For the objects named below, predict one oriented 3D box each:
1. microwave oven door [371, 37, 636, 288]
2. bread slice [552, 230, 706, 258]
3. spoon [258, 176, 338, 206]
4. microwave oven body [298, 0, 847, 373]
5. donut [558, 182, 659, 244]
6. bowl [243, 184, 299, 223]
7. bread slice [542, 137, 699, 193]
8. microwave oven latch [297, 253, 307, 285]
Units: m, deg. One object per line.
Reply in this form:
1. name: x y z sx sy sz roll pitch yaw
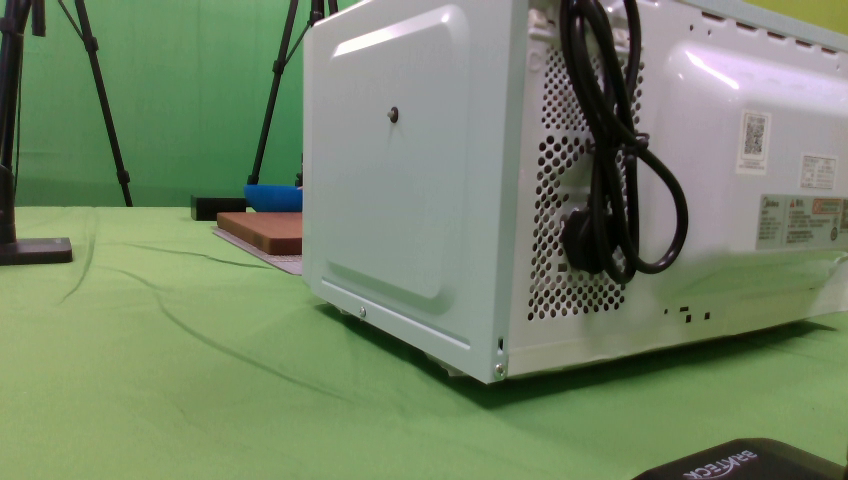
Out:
1. microwave oven door: 0.110 -0.080 0.686 0.358 0.243 0.039 -2 9 -33
2. bread slice: 0.203 0.004 0.584 0.105 0.019 0.131 6 -2 -20
3. spoon: -0.279 -0.112 1.356 0.194 0.021 0.041 -27 18 -27
4. microwave oven body: 0.151 -0.055 0.542 0.444 0.260 0.324 -1 7 -33
5. donut: 0.184 -0.028 0.608 0.099 0.048 0.099 11 -11 2
6. bowl: -0.321 -0.081 1.333 0.151 0.077 0.151 3 8 0
7. bread slice: 0.199 -0.074 0.598 0.107 0.018 0.133 -1 22 -43
8. microwave oven latch: -0.082 0.027 0.583 0.079 0.029 0.030 -2 8 -33
